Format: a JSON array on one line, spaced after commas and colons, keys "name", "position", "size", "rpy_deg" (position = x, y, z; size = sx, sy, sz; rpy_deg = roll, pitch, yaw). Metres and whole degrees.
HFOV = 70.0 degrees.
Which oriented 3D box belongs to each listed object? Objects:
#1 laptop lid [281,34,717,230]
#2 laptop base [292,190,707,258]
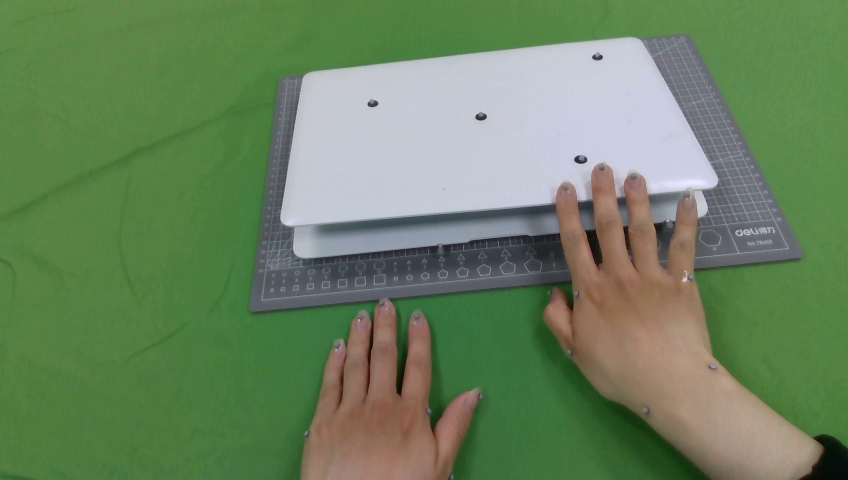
[{"name": "laptop lid", "position": [0.053, -0.111, 0.553], "size": [0.357, 0.013, 0.239], "rpy_deg": [-4, 49, 2]}, {"name": "laptop base", "position": [0.056, -0.094, 0.576], "size": [0.354, 0.023, 0.233], "rpy_deg": [-6, 57, 1]}]
